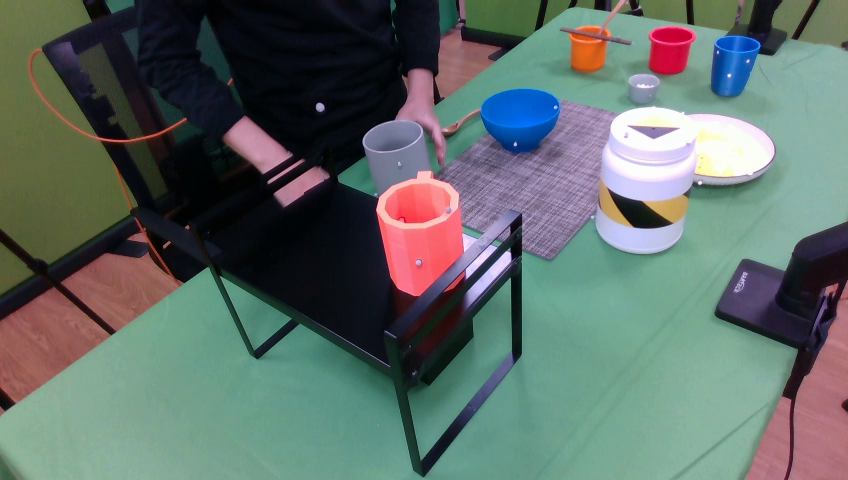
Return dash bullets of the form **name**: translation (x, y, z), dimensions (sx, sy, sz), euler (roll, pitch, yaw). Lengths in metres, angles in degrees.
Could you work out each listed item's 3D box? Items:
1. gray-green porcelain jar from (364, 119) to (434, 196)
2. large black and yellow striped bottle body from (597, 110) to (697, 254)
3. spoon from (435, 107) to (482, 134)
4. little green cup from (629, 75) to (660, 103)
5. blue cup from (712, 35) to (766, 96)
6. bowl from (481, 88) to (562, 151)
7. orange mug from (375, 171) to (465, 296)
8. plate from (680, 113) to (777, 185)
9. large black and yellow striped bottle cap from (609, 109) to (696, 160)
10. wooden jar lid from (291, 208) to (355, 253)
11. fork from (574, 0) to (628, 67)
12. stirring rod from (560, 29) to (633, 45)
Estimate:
- **gray-green porcelain jar**: translation (-0.040, -0.129, 1.053), dimensions (0.106, 0.127, 0.105), euler (-8, 39, 7)
- **large black and yellow striped bottle body**: translation (0.331, -0.086, 0.904), dimensions (0.131, 0.185, 0.130), euler (-5, 41, 4)
- **spoon**: translation (0.100, -0.261, 1.268), dimensions (0.194, 0.022, 0.041), euler (-34, 28, -27)
- **little green cup**: translation (0.457, -0.314, 1.260), dimensions (0.061, 0.039, 0.061), euler (-4, 40, 4)
- **blue cup**: translation (0.627, -0.350, 1.227), dimensions (0.092, 0.100, 0.092), euler (-4, 39, 4)
- **bowl**: translation (0.187, -0.223, 1.162), dimensions (0.151, 0.077, 0.150), euler (-4, 40, 4)
- **orange mug**: translation (0.000, -0.016, 0.661), dimensions (0.083, 0.101, 0.125), euler (-2, 45, 8)
- **plate**: translation (0.506, -0.158, 1.073), dimensions (0.209, 0.038, 0.208), euler (-5, 40, 4)
- **large black and yellow striped bottle cap**: translation (0.319, -0.150, 0.849), dimensions (0.115, 0.019, 0.114), euler (-4, 39, 3)
- **wooden jar lid**: translation (-0.170, -0.015, 1.026), dimensions (0.108, 0.021, 0.108), euler (-4, 39, 4)
- **fork**: translation (0.413, -0.481, 1.377), dimensions (0.207, 0.019, 0.028), euler (-56, 43, 12)
- **stirring rod**: translation (0.381, -0.452, 1.345), dimensions (0.174, 0.006, 0.014), euler (25, 49, 33)
